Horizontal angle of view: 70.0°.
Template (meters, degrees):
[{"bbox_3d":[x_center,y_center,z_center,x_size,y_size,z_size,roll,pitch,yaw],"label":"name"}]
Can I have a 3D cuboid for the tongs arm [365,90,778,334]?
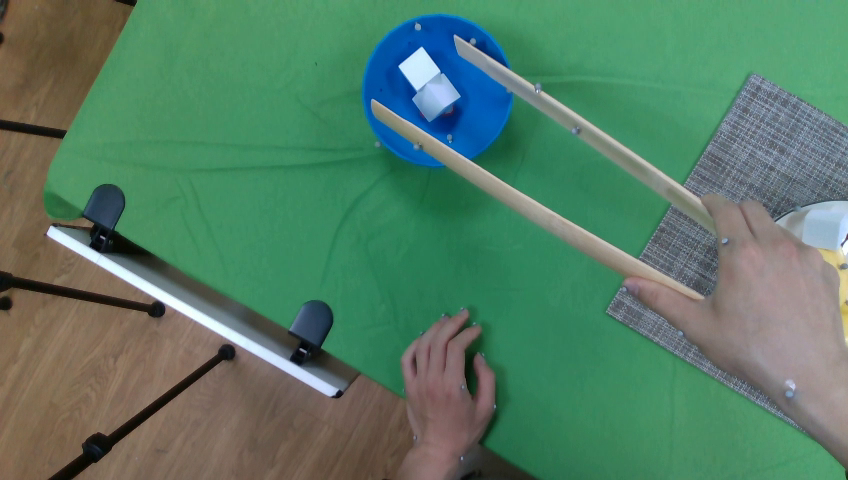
[{"bbox_3d":[0.087,-0.037,0.490,0.384,0.028,0.028,35,65,27],"label":"tongs arm"}]

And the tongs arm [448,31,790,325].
[{"bbox_3d":[0.132,-0.074,0.506,0.051,0.027,0.381,-38,59,-16],"label":"tongs arm"}]

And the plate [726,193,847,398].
[{"bbox_3d":[0.416,0.056,0.627,0.207,0.039,0.207,0,90,3],"label":"plate"}]

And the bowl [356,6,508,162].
[{"bbox_3d":[0.010,-0.151,0.629,0.151,0.077,0.151,0,90,3],"label":"bowl"}]

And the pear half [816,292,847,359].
[{"bbox_3d":[0.453,0.088,0.620,0.088,0.031,0.070,-27,92,9],"label":"pear half"}]

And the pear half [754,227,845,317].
[{"bbox_3d":[0.397,0.025,0.614,0.076,0.056,0.110,41,88,-2],"label":"pear half"}]
